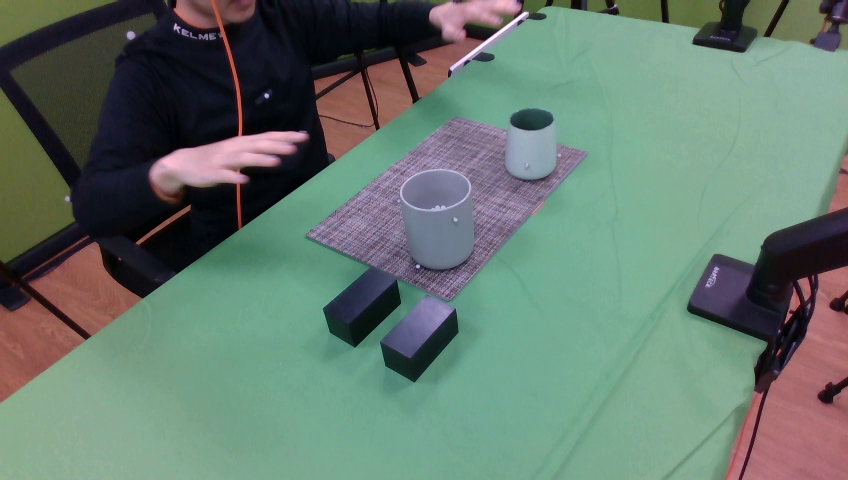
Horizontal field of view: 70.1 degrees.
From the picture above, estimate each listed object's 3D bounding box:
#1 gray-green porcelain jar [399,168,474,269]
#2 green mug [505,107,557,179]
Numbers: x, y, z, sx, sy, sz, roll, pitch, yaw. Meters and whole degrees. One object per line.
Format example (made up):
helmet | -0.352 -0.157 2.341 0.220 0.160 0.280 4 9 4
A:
gray-green porcelain jar | 0.022 -0.027 0.911 0.106 0.127 0.105 -4 41 4
green mug | 0.189 -0.180 1.082 0.092 0.105 0.124 -6 41 2
